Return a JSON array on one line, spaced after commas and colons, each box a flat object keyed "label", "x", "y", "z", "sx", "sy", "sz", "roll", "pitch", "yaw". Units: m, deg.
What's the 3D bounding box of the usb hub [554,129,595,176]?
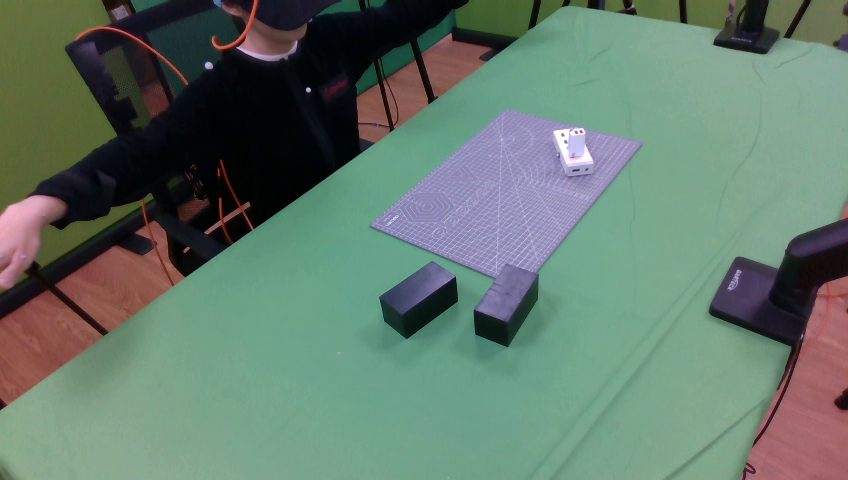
[{"label": "usb hub", "x": 0.278, "y": -0.163, "z": 1.119, "sx": 0.049, "sy": 0.025, "sz": 0.124, "roll": -6, "pitch": 41, "yaw": 2}]

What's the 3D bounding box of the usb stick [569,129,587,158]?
[{"label": "usb stick", "x": 0.273, "y": -0.166, "z": 1.075, "sx": 0.027, "sy": 0.059, "sz": 0.021, "roll": -5, "pitch": 40, "yaw": -2}]
